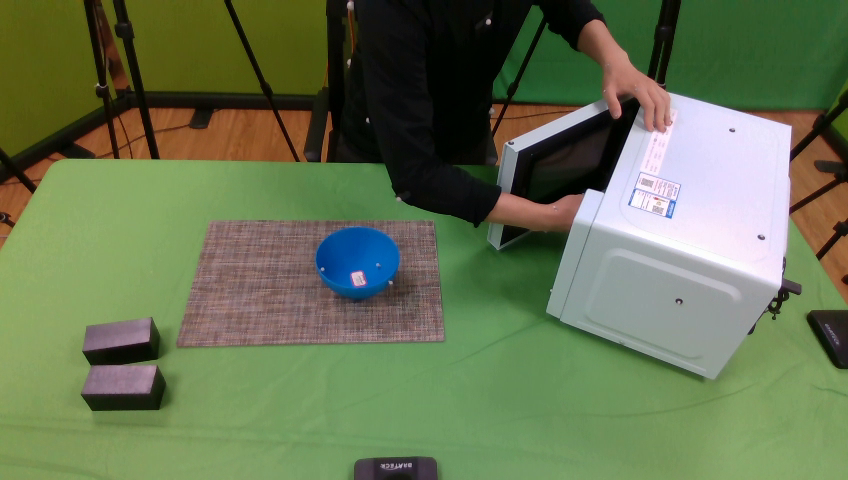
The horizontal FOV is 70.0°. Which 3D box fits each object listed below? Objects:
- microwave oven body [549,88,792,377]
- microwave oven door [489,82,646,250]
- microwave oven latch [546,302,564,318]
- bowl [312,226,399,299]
[{"bbox_3d":[0.456,-0.028,1.088,0.325,0.261,0.440,20,47,16],"label":"microwave oven body"},{"bbox_3d":[0.281,-0.147,1.180,0.356,0.245,0.039,-28,52,-26],"label":"microwave oven door"},{"bbox_3d":[0.242,0.102,1.081,0.030,0.029,0.079,22,48,17],"label":"microwave oven latch"},{"bbox_3d":[-0.120,0.054,1.091,0.151,0.077,0.150,2,46,-2],"label":"bowl"}]
